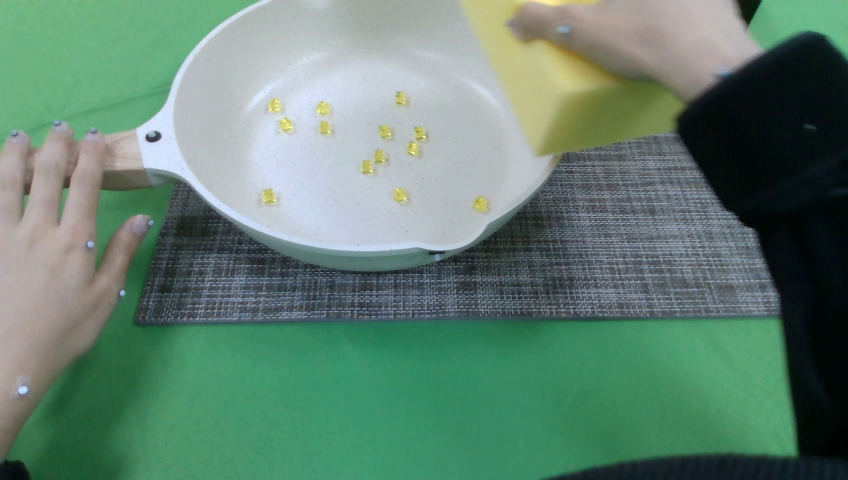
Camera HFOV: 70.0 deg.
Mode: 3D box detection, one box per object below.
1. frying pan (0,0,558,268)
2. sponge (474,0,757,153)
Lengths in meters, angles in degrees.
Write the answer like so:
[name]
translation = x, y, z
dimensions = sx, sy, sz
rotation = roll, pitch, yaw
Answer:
[frying pan]
translation = -0.136, -0.074, 0.431
dimensions = 0.489, 0.103, 0.303
rotation = -12, 55, -21
[sponge]
translation = 0.102, -0.165, 0.395
dimensions = 0.118, 0.061, 0.205
rotation = -13, 65, -12
